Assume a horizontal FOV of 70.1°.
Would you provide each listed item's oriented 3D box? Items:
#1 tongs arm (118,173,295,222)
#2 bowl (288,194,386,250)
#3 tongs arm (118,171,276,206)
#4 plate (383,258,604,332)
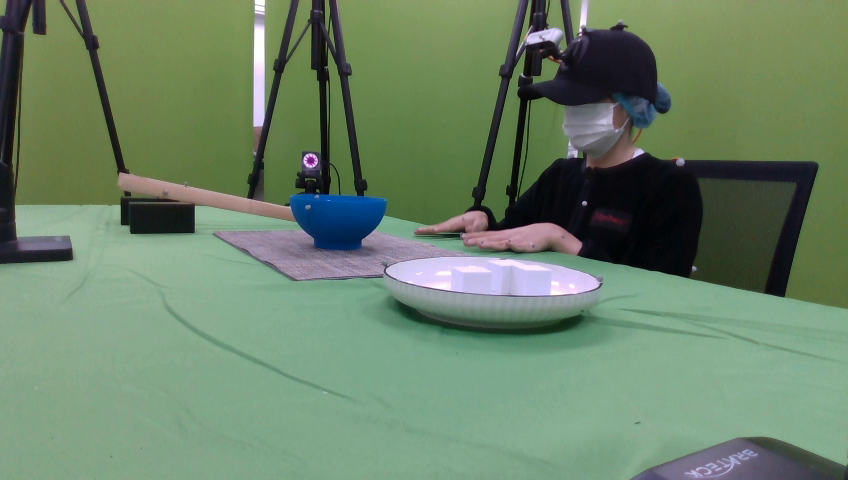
[{"bbox_3d":[-0.347,-0.066,1.104,0.390,0.027,0.028,12,-4,-39],"label":"tongs arm"},{"bbox_3d":[-0.135,-0.028,0.936,0.151,0.077,0.151,3,7,0],"label":"bowl"},{"bbox_3d":[-0.388,-0.077,1.181,0.387,0.026,0.050,12,-1,-23],"label":"tongs arm"},{"bbox_3d":[0.064,0.051,0.582,0.209,0.038,0.209,3,7,0],"label":"plate"}]
